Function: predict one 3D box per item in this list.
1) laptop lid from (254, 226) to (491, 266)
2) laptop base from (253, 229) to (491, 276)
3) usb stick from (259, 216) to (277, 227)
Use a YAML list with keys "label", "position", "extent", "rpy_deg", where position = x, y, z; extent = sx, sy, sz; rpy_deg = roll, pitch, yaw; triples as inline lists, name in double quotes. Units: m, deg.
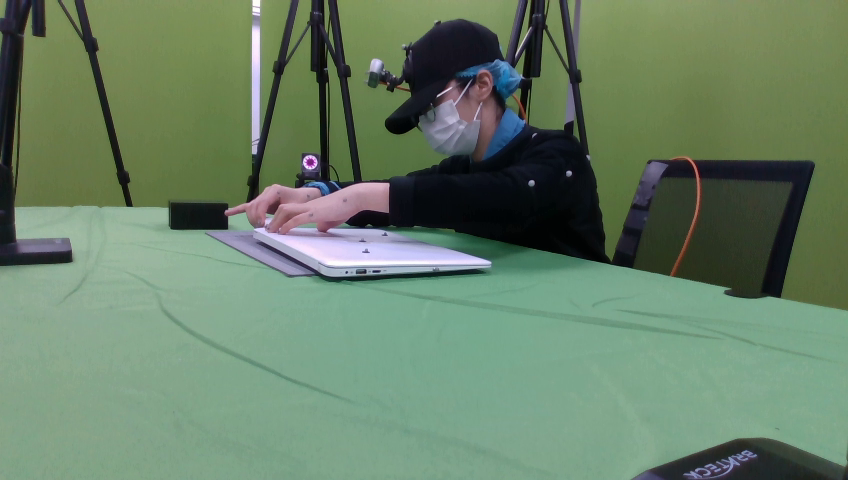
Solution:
- label: "laptop lid"
  position: [-0.092, 0.004, 0.889]
  extent: [0.243, 0.013, 0.355]
  rpy_deg: [1, 7, -28]
- label: "laptop base"
  position: [-0.095, 0.015, 0.889]
  extent: [0.237, 0.023, 0.352]
  rpy_deg: [1, 7, -30]
- label: "usb stick"
  position: [-0.261, -0.023, 1.019]
  extent: [0.021, 0.027, 0.059]
  rpy_deg: [0, 13, -27]
